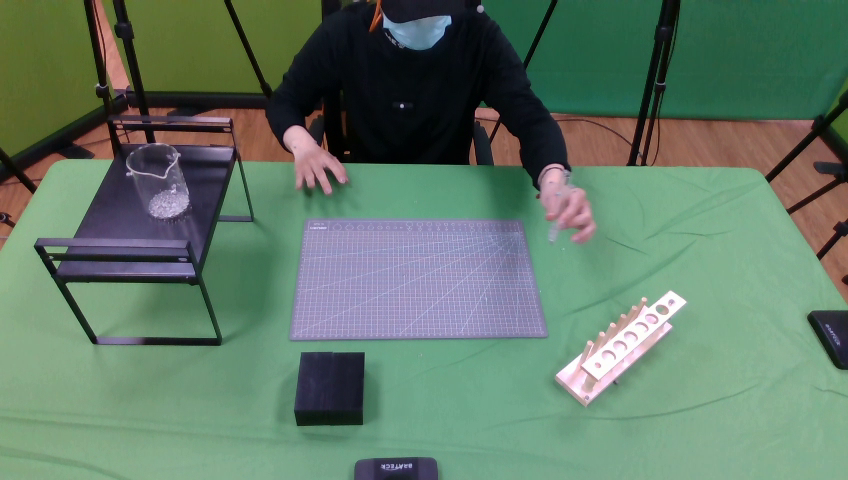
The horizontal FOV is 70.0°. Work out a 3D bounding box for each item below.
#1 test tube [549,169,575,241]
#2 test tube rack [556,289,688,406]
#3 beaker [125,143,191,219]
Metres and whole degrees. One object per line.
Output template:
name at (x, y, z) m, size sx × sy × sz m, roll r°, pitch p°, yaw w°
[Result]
test tube at (0.222, -0.052, 0.978) m, size 0.017 × 0.151 × 0.017 m, roll 1°, pitch 46°, yaw -1°
test tube rack at (0.332, 0.165, 1.014) m, size 0.242 × 0.085 × 0.066 m, roll -30°, pitch 55°, yaw -28°
beaker at (-0.409, -0.088, 0.946) m, size 0.074 × 0.101 × 0.083 m, roll -28°, pitch 54°, yaw -26°
